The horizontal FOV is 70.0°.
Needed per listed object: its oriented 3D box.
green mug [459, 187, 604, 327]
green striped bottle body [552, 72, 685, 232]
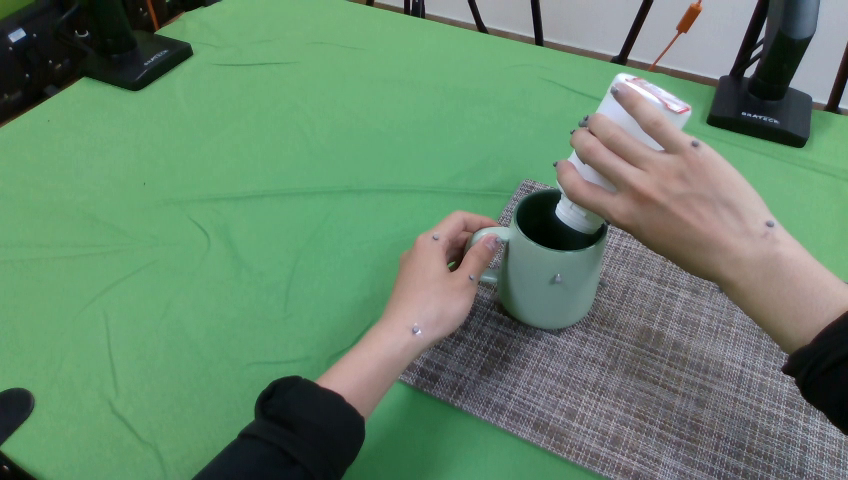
[{"bbox_3d":[0.094,0.017,0.544,0.125,0.106,0.091,0,47,1],"label":"green mug"},{"bbox_3d":[0.146,-0.065,0.480,0.063,0.120,0.062,19,29,-11],"label":"green striped bottle body"}]
